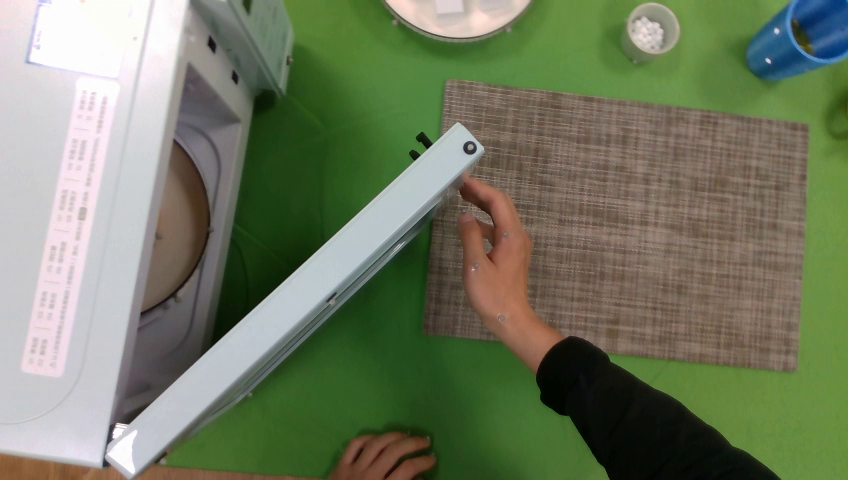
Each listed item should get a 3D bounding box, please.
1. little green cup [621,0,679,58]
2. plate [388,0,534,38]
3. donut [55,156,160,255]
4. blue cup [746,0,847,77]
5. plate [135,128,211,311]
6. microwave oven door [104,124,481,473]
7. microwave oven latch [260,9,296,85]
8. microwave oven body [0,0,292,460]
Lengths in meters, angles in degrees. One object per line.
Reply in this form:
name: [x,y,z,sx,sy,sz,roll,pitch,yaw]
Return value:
little green cup: [0.266,-0.248,0.720,0.061,0.038,0.061,0,86,-4]
plate: [0.041,-0.335,0.710,0.208,0.039,0.207,0,86,-4]
donut: [-0.311,-0.034,0.596,0.099,0.048,0.099,0,91,3]
blue cup: [0.428,-0.233,0.699,0.093,0.100,0.092,0,88,-4]
plate: [-0.317,-0.028,0.604,0.209,0.038,0.209,0,87,-5]
microwave oven door: [-0.099,0.046,0.558,0.355,0.244,0.039,-43,89,-5]
microwave oven latch: [-0.163,-0.215,0.670,0.030,0.029,0.079,14,86,-3]
microwave oven body: [-0.331,-0.072,0.554,0.326,0.260,0.441,9,87,-4]
